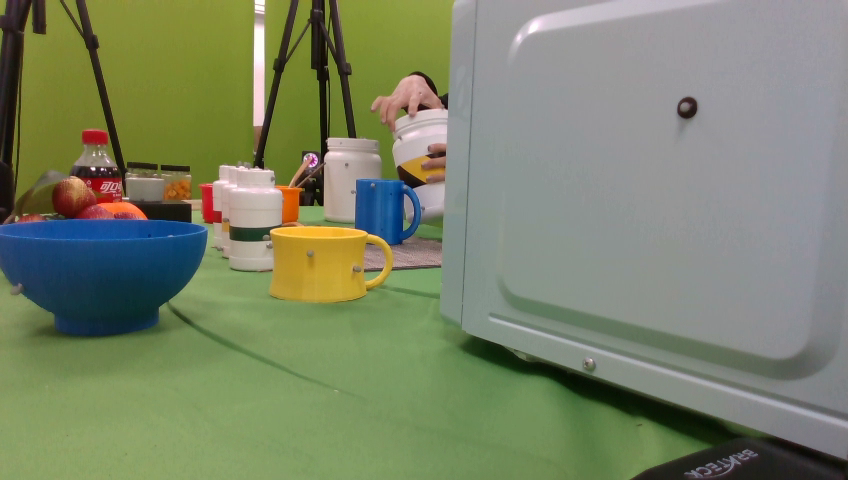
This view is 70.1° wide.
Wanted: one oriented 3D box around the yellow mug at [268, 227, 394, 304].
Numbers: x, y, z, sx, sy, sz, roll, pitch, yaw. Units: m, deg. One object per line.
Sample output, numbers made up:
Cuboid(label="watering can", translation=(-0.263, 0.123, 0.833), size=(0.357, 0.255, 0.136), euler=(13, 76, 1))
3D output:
Cuboid(label="yellow mug", translation=(-0.094, 0.023, 0.630), size=(0.131, 0.064, 0.099), euler=(0, 8, -22))

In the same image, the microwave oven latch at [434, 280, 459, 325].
Cuboid(label="microwave oven latch", translation=(0.044, 0.045, 0.470), size=(0.079, 0.029, 0.030), euler=(-2, 8, -39))

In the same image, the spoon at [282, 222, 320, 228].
Cuboid(label="spoon", translation=(-0.227, -0.023, 1.085), size=(0.042, 0.021, 0.193), euler=(-24, 18, -23))

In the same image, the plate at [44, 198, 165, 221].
Cuboid(label="plate", translation=(-0.617, -0.056, 1.179), size=(0.209, 0.038, 0.209), euler=(3, 7, 0))

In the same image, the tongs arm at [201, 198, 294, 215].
Cuboid(label="tongs arm", translation=(-0.423, -0.084, 1.472), size=(0.050, 0.026, 0.386), euler=(2, 6, 22))

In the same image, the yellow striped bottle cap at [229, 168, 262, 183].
Cuboid(label="yellow striped bottle cap", translation=(-0.240, -0.087, 0.816), size=(0.044, 0.018, 0.044), euler=(-2, 5, 1))

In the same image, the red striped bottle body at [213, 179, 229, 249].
Cuboid(label="red striped bottle body", translation=(-0.284, -0.047, 0.908), size=(0.063, 0.119, 0.063), euler=(2, 8, 0))

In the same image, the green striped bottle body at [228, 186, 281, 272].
Cuboid(label="green striped bottle body", translation=(-0.208, -0.023, 0.745), size=(0.063, 0.119, 0.063), euler=(2, 7, 0))

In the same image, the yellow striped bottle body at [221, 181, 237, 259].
Cuboid(label="yellow striped bottle body", translation=(-0.244, -0.035, 0.823), size=(0.063, 0.120, 0.063), euler=(2, 8, 0))

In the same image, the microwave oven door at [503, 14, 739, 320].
Cuboid(label="microwave oven door", translation=(0.217, -0.065, 0.600), size=(0.358, 0.243, 0.039), euler=(-4, 10, -41))

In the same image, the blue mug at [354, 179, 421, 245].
Cuboid(label="blue mug", translation=(-0.060, -0.047, 1.006), size=(0.116, 0.106, 0.082), euler=(5, 8, 20))

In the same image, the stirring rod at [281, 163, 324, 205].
Cuboid(label="stirring rod", translation=(-0.278, -0.104, 1.293), size=(0.176, 0.006, 0.014), euler=(-47, 25, -18))

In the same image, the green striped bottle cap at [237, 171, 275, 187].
Cuboid(label="green striped bottle cap", translation=(-0.205, -0.074, 0.738), size=(0.044, 0.020, 0.044), euler=(1, 9, 0))

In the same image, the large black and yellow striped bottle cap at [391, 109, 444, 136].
Cuboid(label="large black and yellow striped bottle cap", translation=(-0.004, -0.212, 1.107), size=(0.115, 0.019, 0.115), euler=(-11, -5, -1))

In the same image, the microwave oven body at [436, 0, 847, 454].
Cuboid(label="microwave oven body", translation=(0.279, -0.040, 0.464), size=(0.444, 0.260, 0.324), euler=(-3, 9, -41))

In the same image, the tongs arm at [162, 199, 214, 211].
Cuboid(label="tongs arm", translation=(-0.503, -0.091, 1.513), size=(0.028, 0.028, 0.389), euler=(-1, 4, 38))

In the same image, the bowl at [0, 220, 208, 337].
Cuboid(label="bowl", translation=(-0.251, 0.029, 0.479), size=(0.151, 0.077, 0.151), euler=(2, 7, 0))

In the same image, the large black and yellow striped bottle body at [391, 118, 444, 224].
Cuboid(label="large black and yellow striped bottle body", translation=(0.014, -0.130, 1.103), size=(0.131, 0.183, 0.131), euler=(-12, -3, 0))

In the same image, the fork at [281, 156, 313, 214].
Cuboid(label="fork", translation=(-0.289, -0.116, 1.320), size=(0.028, 0.019, 0.207), euler=(-2, 48, 27))

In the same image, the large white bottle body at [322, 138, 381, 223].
Cuboid(label="large white bottle body", translation=(-0.163, -0.135, 1.368), size=(0.131, 0.184, 0.130), euler=(2, 7, 0))

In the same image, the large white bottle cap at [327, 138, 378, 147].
Cuboid(label="large white bottle cap", translation=(-0.160, -0.218, 1.357), size=(0.115, 0.018, 0.115), euler=(2, 8, 0))

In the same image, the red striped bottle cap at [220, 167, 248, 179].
Cuboid(label="red striped bottle cap", translation=(-0.281, -0.100, 0.901), size=(0.044, 0.017, 0.044), euler=(-1, 5, 0))

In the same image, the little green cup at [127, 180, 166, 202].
Cuboid(label="little green cup", translation=(-0.486, -0.086, 1.061), size=(0.061, 0.038, 0.061), euler=(1, 7, 0))
